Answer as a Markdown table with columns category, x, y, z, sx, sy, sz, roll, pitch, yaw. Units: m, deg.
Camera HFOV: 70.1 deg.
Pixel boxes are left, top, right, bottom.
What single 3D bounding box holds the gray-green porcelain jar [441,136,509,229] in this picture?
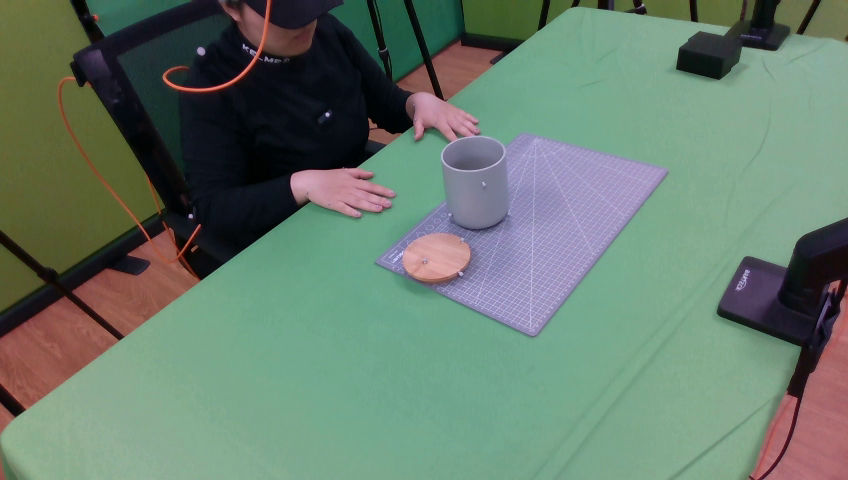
| category | x | y | z | sx | sy | sz | roll | pitch | yaw |
| --- | --- | --- | --- | --- | --- | --- | --- | --- | --- |
| gray-green porcelain jar | 0.086 | -0.090 | 0.988 | 0.106 | 0.127 | 0.105 | -5 | 40 | 5 |

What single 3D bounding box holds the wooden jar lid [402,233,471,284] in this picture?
| category | x | y | z | sx | sy | sz | roll | pitch | yaw |
| --- | --- | --- | --- | --- | --- | --- | --- | --- | --- |
| wooden jar lid | 0.020 | 0.030 | 0.941 | 0.108 | 0.021 | 0.108 | -4 | 40 | 4 |
